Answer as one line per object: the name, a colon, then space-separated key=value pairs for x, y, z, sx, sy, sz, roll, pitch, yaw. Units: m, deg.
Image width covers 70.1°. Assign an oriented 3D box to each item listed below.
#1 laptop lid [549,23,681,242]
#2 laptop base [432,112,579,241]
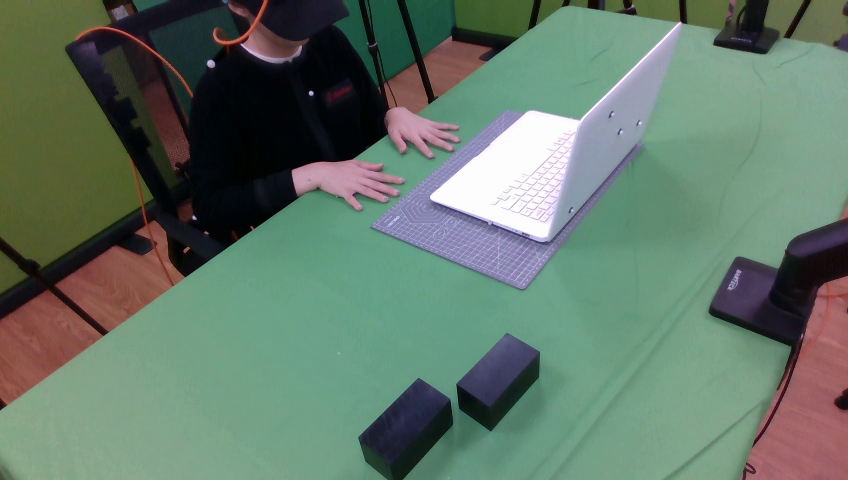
laptop lid: x=0.304 y=-0.171 z=0.951 sx=0.013 sy=0.242 sz=0.358 roll=30 pitch=51 yaw=24
laptop base: x=0.208 y=-0.129 z=1.098 sx=0.233 sy=0.023 sz=0.355 roll=20 pitch=47 yaw=34
